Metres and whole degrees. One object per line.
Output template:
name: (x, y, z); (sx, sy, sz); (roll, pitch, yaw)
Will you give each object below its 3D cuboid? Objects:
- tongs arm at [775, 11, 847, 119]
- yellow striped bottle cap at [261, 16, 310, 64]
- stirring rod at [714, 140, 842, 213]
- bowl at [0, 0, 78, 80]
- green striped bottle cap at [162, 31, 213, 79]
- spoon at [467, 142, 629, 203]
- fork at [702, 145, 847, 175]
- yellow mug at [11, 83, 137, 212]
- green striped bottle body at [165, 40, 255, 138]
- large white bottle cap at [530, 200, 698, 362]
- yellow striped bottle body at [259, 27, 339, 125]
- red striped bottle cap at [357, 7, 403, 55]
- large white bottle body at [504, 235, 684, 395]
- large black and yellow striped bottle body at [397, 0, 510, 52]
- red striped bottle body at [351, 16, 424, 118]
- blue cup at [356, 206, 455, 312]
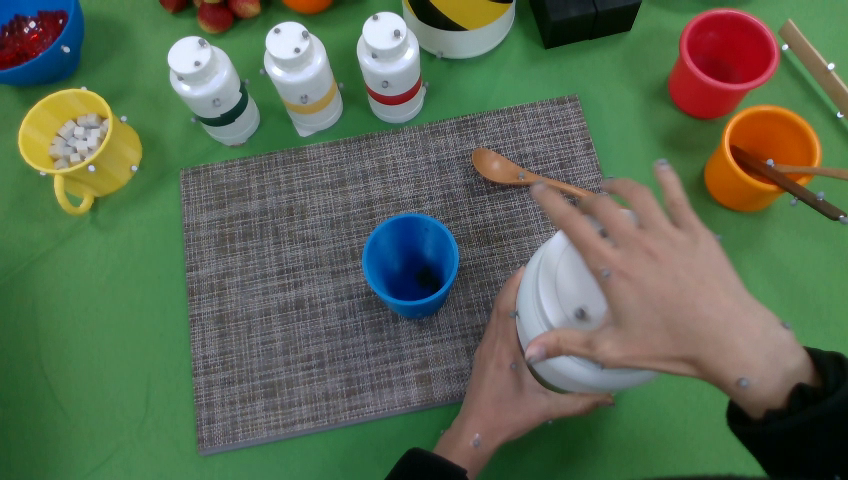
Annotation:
tongs arm: (0.496, -0.092, 0.622); (0.051, 0.027, 0.382); (-23, 73, -7)
yellow striped bottle cap: (-0.134, -0.193, 0.585); (0.044, 0.019, 0.044); (0, 73, 1)
stirring rod: (0.325, -0.064, 0.569); (0.014, 0.006, 0.174); (-9, 28, -3)
bowl: (-0.458, -0.238, 0.691); (0.151, 0.077, 0.150); (0, 72, 2)
green striped bottle cap: (-0.228, -0.178, 0.584); (0.044, 0.020, 0.044); (-1, 71, 2)
spoon: (0.136, -0.061, 0.632); (0.193, 0.022, 0.041); (19, 49, 8)
fork: (0.356, -0.068, 0.562); (0.028, 0.019, 0.205); (-50, 32, -12)
yellow mug: (-0.373, -0.094, 0.646); (0.100, 0.064, 0.130); (-2, 72, 1)
green striped bottle body: (-0.225, -0.162, 0.634); (0.063, 0.120, 0.063); (-1, 71, 3)
large white bottle cap: (0.132, 0.027, 0.423); (0.115, 0.018, 0.114); (0, 71, 0)
yellow striped bottle body: (-0.131, -0.177, 0.634); (0.063, 0.121, 0.062); (-1, 71, 4)
red striped bottle cap: (-0.042, -0.202, 0.583); (0.044, 0.018, 0.044); (0, 70, -1)
large white bottle body: (0.138, 0.057, 0.507); (0.130, 0.186, 0.129); (-1, 71, 3)
large black and yellow striped bottle body: (0.030, -0.303, 0.635); (0.131, 0.185, 0.130); (-1, 72, 3)
red striped bottle body: (-0.038, -0.185, 0.633); (0.063, 0.120, 0.062); (-2, 70, 7)
blue cup: (-0.015, 0.027, 0.569); (0.092, 0.101, 0.092); (0, 71, 1)
